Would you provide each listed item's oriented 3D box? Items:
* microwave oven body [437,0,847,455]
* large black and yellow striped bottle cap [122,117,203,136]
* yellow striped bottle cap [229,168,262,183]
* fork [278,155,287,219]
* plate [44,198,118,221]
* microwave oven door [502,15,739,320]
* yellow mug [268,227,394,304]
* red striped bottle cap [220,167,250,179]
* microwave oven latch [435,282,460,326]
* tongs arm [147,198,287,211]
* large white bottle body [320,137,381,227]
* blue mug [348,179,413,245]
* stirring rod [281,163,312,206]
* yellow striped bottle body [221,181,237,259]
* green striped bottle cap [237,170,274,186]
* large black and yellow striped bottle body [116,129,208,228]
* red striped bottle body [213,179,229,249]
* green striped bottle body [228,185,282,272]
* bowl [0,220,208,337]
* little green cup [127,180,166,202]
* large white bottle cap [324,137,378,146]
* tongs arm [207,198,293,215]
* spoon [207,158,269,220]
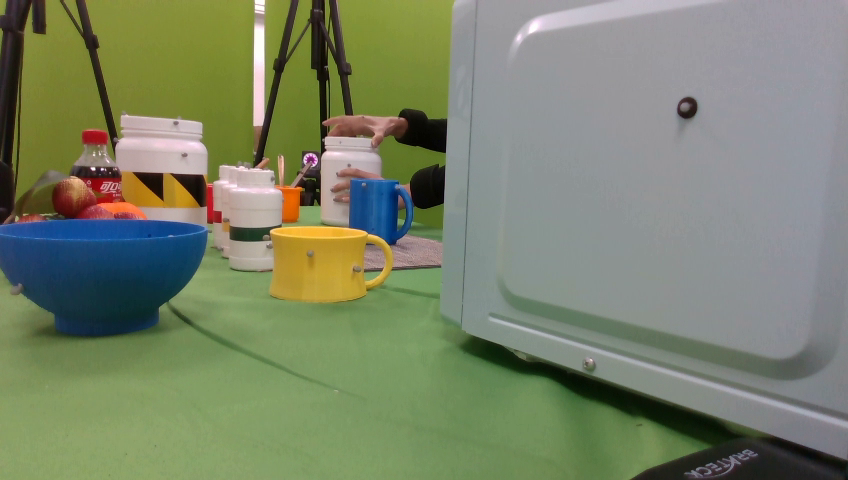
[{"bbox_3d":[0.279,-0.040,0.464,0.444,0.260,0.324,-3,8,-41],"label":"microwave oven body"},{"bbox_3d":[-0.399,-0.174,0.927,0.115,0.019,0.115,5,9,-1],"label":"large black and yellow striped bottle cap"},{"bbox_3d":[-0.240,-0.086,0.816,0.044,0.018,0.044,-2,5,1],"label":"yellow striped bottle cap"},{"bbox_3d":[-0.318,-0.119,1.342,0.028,0.018,0.206,-1,52,-12],"label":"fork"},{"bbox_3d":[-0.617,-0.056,1.179,0.209,0.038,0.209,3,7,0],"label":"plate"},{"bbox_3d":[0.217,-0.065,0.601,0.358,0.243,0.039,-4,10,-41],"label":"microwave oven door"},{"bbox_3d":[-0.094,0.023,0.630,0.131,0.064,0.099,0,7,-22],"label":"yellow mug"},{"bbox_3d":[-0.281,-0.099,0.901,0.044,0.017,0.044,-1,4,0],"label":"red striped bottle cap"},{"bbox_3d":[0.044,0.046,0.470,0.079,0.029,0.030,-3,8,-40],"label":"microwave oven latch"},{"bbox_3d":[-0.504,-0.090,1.513,0.028,0.028,0.389,-1,4,38],"label":"tongs arm"},{"bbox_3d":[-0.157,-0.125,1.297,0.131,0.184,0.130,2,8,0],"label":"large white bottle body"},{"bbox_3d":[-0.071,-0.047,1.002,0.116,0.106,0.082,7,9,26],"label":"blue mug"},{"bbox_3d":[-0.292,-0.111,1.324,0.014,0.006,0.176,2,47,29],"label":"stirring rod"},{"bbox_3d":[-0.244,-0.035,0.824,0.063,0.120,0.063,2,8,0],"label":"yellow striped bottle body"},{"bbox_3d":[-0.205,-0.075,0.737,0.044,0.020,0.044,1,6,0],"label":"green striped bottle cap"},{"bbox_3d":[-0.404,-0.089,0.937,0.131,0.184,0.130,3,7,0],"label":"large black and yellow striped bottle body"},{"bbox_3d":[-0.283,-0.048,0.909,0.063,0.119,0.063,3,10,0],"label":"red striped bottle body"},{"bbox_3d":[-0.208,-0.023,0.745,0.063,0.119,0.063,3,7,0],"label":"green striped bottle body"},{"bbox_3d":[-0.251,0.030,0.479,0.151,0.077,0.151,2,7,0],"label":"bowl"},{"bbox_3d":[-0.485,-0.087,1.062,0.061,0.038,0.061,0,6,0],"label":"little green cup"},{"bbox_3d":[-0.154,-0.208,1.285,0.115,0.018,0.115,1,8,0],"label":"large white bottle cap"},{"bbox_3d":[-0.423,-0.084,1.472,0.050,0.026,0.386,1,6,21],"label":"tongs arm"},{"bbox_3d":[-0.380,-0.108,1.251,0.041,0.022,0.194,4,51,39],"label":"spoon"}]
